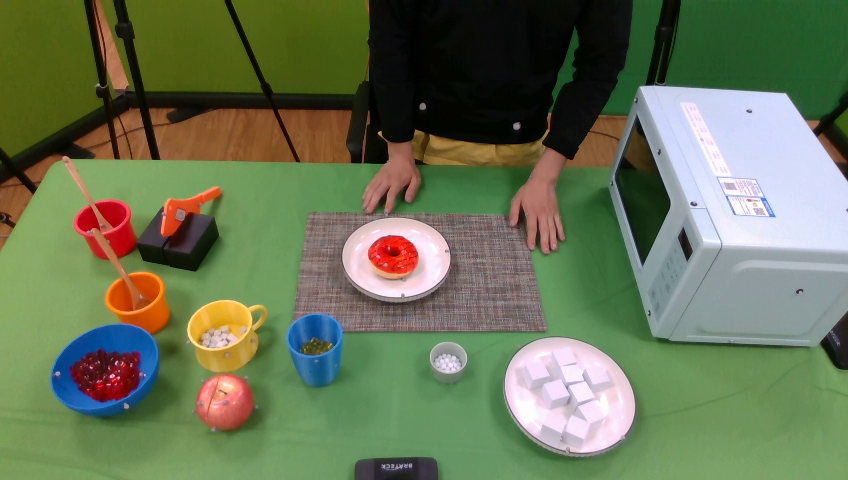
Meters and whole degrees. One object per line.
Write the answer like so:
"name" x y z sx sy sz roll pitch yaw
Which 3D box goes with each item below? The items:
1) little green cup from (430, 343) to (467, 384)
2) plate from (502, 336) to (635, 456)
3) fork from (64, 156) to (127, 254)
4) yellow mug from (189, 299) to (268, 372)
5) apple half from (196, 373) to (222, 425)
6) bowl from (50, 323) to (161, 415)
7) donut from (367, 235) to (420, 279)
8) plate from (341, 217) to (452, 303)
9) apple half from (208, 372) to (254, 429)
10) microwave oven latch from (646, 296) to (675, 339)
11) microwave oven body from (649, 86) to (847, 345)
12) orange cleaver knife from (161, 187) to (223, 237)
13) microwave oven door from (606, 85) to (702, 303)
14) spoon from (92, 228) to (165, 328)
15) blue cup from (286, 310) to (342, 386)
"little green cup" 0.039 0.203 0.994 0.061 0.039 0.061 2 46 -2
"plate" 0.225 0.248 0.963 0.208 0.039 0.206 2 46 -2
"fork" -0.614 -0.064 1.130 0.028 0.018 0.207 -29 97 -16
"yellow mug" -0.315 0.148 1.001 0.131 0.064 0.099 -33 55 -31
"apple half" -0.322 0.239 0.906 0.033 0.081 0.081 7 46 0
"bowl" -0.472 0.209 0.924 0.151 0.077 0.150 2 45 -2
"donut" -0.056 0.032 1.132 0.099 0.048 0.098 3 45 -3
"plate" -0.052 0.039 1.140 0.209 0.038 0.208 2 46 -2
"apple half" -0.282 0.244 0.908 0.053 0.075 0.080 7 43 -1
"microwave oven latch" 0.412 0.134 1.061 0.030 0.029 0.078 4 45 1
"microwave oven body" 0.568 -0.053 1.118 0.326 0.261 0.439 2 45 -1
"orange cleaver knife" -0.448 -0.058 1.181 0.012 0.077 0.211 13 17 6
"microwave oven door" 0.423 -0.094 1.141 0.039 0.245 0.353 2 46 -1
"spoon" -0.496 0.063 1.014 0.041 0.194 0.021 -34 12 -32
"blue cup" -0.169 0.179 0.958 0.093 0.101 0.092 1 44 -1
